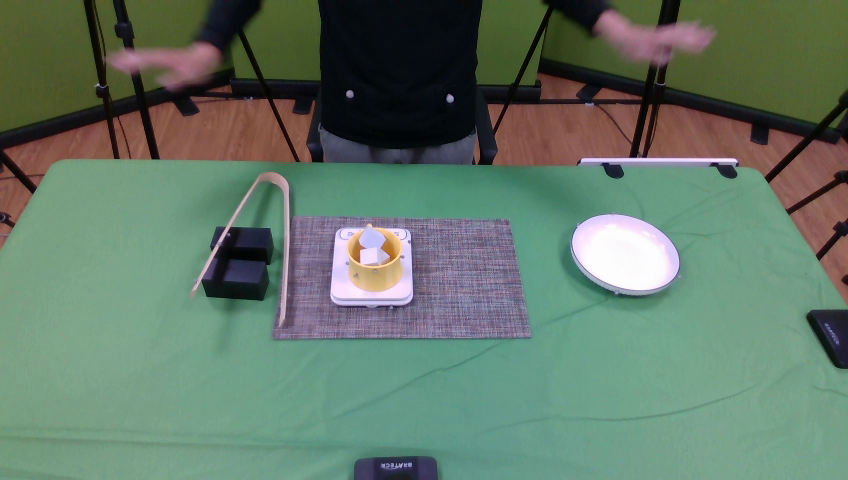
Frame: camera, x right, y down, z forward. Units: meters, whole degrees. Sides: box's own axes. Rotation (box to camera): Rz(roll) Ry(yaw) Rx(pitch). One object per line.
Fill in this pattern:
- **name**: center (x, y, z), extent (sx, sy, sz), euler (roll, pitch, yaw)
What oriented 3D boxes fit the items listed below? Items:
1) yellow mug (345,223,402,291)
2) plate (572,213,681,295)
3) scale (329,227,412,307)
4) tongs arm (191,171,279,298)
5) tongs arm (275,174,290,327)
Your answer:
- **yellow mug**: center (-0.092, 0.022, 1.093), extent (0.100, 0.064, 0.130), euler (-8, 46, -10)
- **plate**: center (0.392, 0.030, 1.189), extent (0.208, 0.039, 0.206), euler (2, 46, -2)
- **scale**: center (-0.099, 0.042, 1.139), extent (0.149, 0.032, 0.199), euler (1, 46, -4)
- **tongs arm**: center (-0.344, -0.023, 1.133), extent (0.051, 0.026, 0.382), euler (24, 36, -15)
- **tongs arm**: center (-0.273, 0.006, 1.161), extent (0.028, 0.028, 0.385), euler (12, 41, -23)
